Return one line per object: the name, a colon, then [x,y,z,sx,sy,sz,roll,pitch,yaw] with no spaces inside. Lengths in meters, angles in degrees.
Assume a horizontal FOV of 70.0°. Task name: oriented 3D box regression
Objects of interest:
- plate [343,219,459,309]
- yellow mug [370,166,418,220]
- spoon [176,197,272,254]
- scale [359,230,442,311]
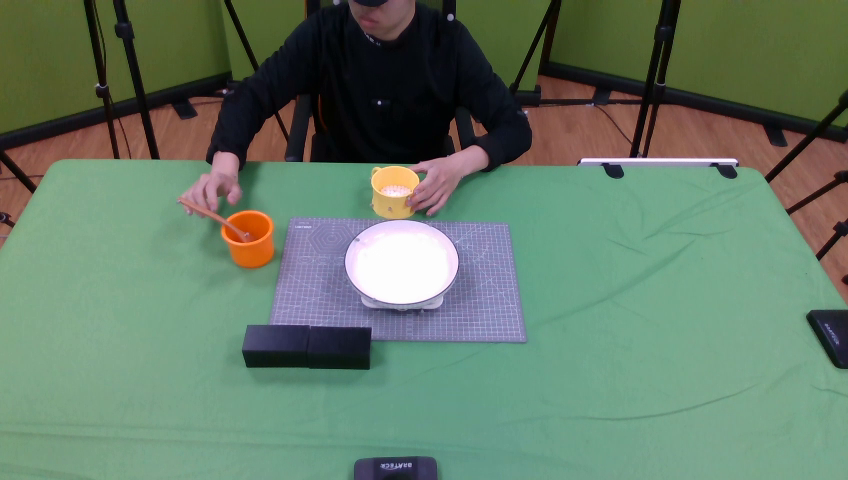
plate: [-0.041,0.046,1.094,0.209,0.038,0.208,2,46,-2]
yellow mug: [-0.072,-0.107,1.267,0.100,0.064,0.130,-29,53,-29]
spoon: [-0.362,-0.028,1.108,0.021,0.195,0.041,-35,35,24]
scale: [-0.043,0.048,1.138,0.149,0.032,0.199,2,46,-3]
